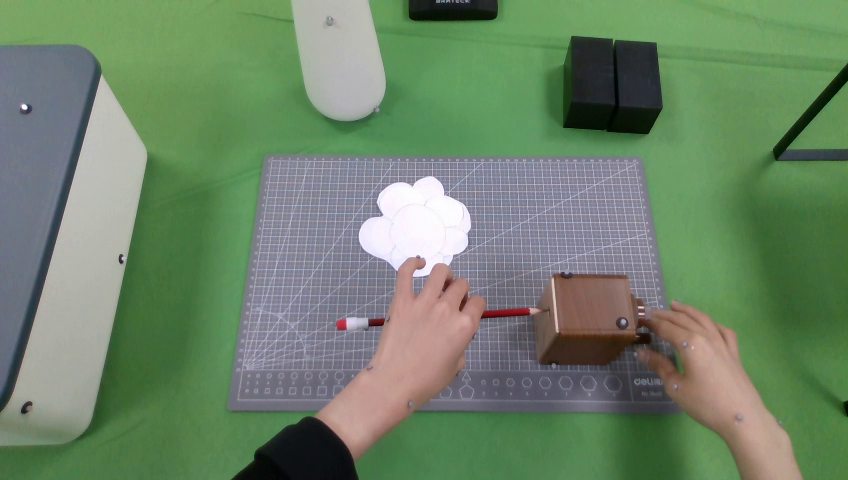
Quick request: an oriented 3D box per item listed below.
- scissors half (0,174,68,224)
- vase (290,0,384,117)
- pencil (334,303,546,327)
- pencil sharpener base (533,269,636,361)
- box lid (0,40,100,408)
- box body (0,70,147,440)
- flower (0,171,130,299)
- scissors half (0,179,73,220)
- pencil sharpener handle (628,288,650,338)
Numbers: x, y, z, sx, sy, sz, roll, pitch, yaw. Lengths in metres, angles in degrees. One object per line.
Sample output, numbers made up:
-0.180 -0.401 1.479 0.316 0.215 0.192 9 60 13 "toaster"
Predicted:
-0.475 -0.016 0.674 0.175 0.040 0.012 -32 31 -7 "scissors half"
-0.099 -0.228 0.673 0.098 0.201 0.097 0 64 1 "vase"
0.016 0.066 0.549 0.194 0.012 0.012 -4 65 -5 "pencil"
0.151 0.075 0.581 0.077 0.108 0.061 0 64 0 "pencil sharpener base"
-0.442 -0.029 0.516 0.263 0.015 0.368 0 65 -2 "box lid"
-0.442 0.005 0.584 0.254 0.161 0.361 -1 65 0 "box body"
-0.440 0.036 0.662 0.038 0.044 0.359 -7 39 32 "flower"
-0.480 -0.027 0.666 0.175 0.040 0.012 -25 35 -13 "scissors half"
0.202 0.072 0.569 0.030 0.068 0.035 0 52 0 "pencil sharpener handle"
